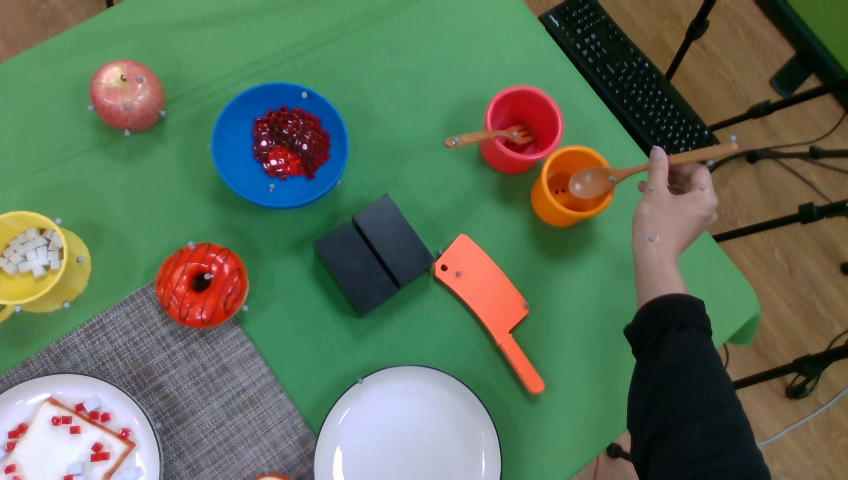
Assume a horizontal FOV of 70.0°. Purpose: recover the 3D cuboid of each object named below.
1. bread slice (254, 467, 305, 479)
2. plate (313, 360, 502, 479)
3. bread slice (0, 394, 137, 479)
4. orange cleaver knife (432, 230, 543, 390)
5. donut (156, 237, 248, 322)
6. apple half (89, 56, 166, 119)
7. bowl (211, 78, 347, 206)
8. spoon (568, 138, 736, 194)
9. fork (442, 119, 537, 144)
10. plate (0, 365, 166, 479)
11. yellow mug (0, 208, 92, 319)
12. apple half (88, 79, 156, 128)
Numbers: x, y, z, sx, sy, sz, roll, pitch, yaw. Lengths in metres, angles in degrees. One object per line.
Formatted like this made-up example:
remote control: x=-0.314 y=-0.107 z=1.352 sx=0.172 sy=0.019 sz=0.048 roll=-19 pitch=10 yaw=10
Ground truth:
bread slice: x=-0.163 y=0.302 z=0.615 sx=0.106 sy=0.018 sz=0.134 roll=44 pitch=55 yaw=7
plate: x=-0.018 y=0.239 z=0.677 sx=0.209 sy=0.038 sz=0.208 roll=2 pitch=77 yaw=-7
bread slice: x=-0.378 y=0.241 z=0.623 sx=0.105 sy=0.019 sz=0.131 roll=27 pitch=75 yaw=-1
orange cleaver knife: x=0.090 y=0.082 z=0.739 sx=0.077 sy=0.012 sz=0.210 roll=-33 pitch=82 yaw=-20
donut: x=-0.249 y=0.045 z=0.682 sx=0.099 sy=0.048 sz=0.098 roll=2 pitch=77 yaw=-8
apple half: x=-0.339 y=-0.182 z=0.710 sx=0.081 sy=0.075 sz=0.053 roll=21 pitch=69 yaw=1
bowl: x=-0.166 y=-0.104 z=0.714 sx=0.152 sy=0.077 sz=0.150 roll=2 pitch=78 yaw=-7
spoon: x=0.248 y=-0.085 z=0.681 sx=0.022 sy=0.193 sz=0.041 roll=18 pitch=70 yaw=-38
fork: x=0.082 y=-0.129 z=0.720 sx=0.208 sy=0.018 sz=0.028 roll=-19 pitch=77 yaw=-54
plate: x=-0.372 y=0.235 z=0.625 sx=0.208 sy=0.039 sz=0.206 roll=2 pitch=77 yaw=-7
yellow mug: x=-0.433 y=0.034 z=0.652 sx=0.100 sy=0.064 sz=0.130 roll=31 pitch=76 yaw=0
apple half: x=-0.351 y=-0.147 z=0.699 sx=0.081 sy=0.081 sz=0.032 roll=21 pitch=70 yaw=-2
